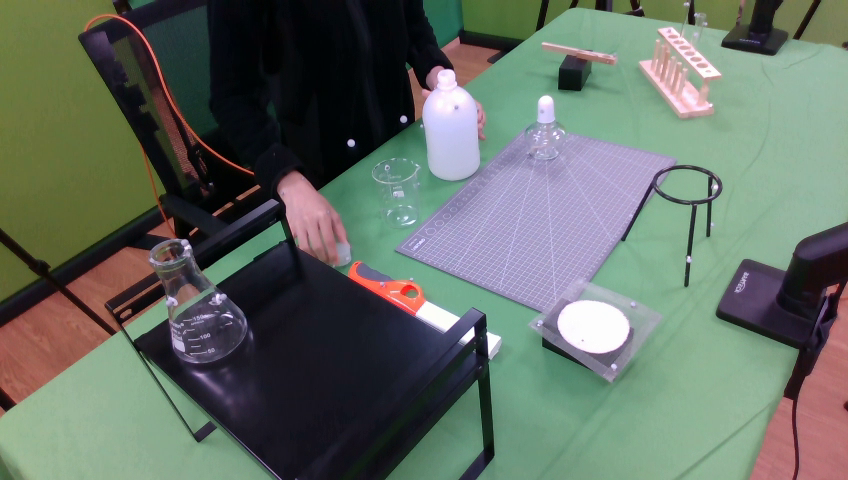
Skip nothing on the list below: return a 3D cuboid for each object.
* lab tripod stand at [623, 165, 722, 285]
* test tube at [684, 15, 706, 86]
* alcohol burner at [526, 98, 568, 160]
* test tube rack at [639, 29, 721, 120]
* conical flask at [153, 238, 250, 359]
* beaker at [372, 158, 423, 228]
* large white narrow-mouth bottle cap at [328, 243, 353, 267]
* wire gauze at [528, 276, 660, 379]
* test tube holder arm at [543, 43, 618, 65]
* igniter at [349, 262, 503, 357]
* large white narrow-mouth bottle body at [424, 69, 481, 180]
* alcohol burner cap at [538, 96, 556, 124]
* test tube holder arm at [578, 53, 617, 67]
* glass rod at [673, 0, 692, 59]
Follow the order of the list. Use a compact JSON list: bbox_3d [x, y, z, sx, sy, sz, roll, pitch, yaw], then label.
[{"bbox_3d":[0.365,-0.030,0.874,0.148,0.132,0.147,-6,41,6],"label":"lab tripod stand"},{"bbox_3d":[0.541,-0.378,1.216,0.017,0.151,0.017,-2,44,3],"label":"test tube"},{"bbox_3d":[0.228,-0.210,1.118,0.078,0.119,0.077,-5,43,5],"label":"alcohol burner"},{"bbox_3d":[0.527,-0.351,1.262,0.067,0.085,0.241,-8,40,1],"label":"test tube rack"},{"bbox_3d":[-0.225,0.055,0.597,0.075,0.122,0.075,-5,41,4],"label":"conical flask"},{"bbox_3d":[-0.039,-0.078,1.022,0.084,0.101,0.073,-17,41,-11],"label":"beaker"},{"bbox_3d":[-0.132,0.023,0.958,0.038,0.024,0.037,-4,41,4],"label":"large white narrow-mouth bottle cap"},{"bbox_3d":[0.213,0.103,0.763,0.124,0.011,0.122,30,52,35],"label":"wire gauze"},{"bbox_3d":[0.344,-0.413,1.340,0.177,0.015,0.013,25,51,31],"label":"test tube holder arm"},{"bbox_3d":[-0.008,0.093,0.870,0.274,0.025,0.057,24,60,33],"label":"igniter"},{"bbox_3d":[0.050,-0.211,1.090,0.102,0.195,0.101,-4,41,4],"label":"large white narrow-mouth bottle body"},{"bbox_3d":[0.222,-0.237,1.095,0.034,0.048,0.033,-7,34,5],"label":"alcohol burner cap"},{"bbox_3d":[0.376,-0.393,1.314,0.087,0.015,0.010,26,51,32],"label":"test tube holder arm"},{"bbox_3d":[0.537,-0.437,1.257,0.008,0.200,0.008,0,39,1],"label":"glass rod"}]
